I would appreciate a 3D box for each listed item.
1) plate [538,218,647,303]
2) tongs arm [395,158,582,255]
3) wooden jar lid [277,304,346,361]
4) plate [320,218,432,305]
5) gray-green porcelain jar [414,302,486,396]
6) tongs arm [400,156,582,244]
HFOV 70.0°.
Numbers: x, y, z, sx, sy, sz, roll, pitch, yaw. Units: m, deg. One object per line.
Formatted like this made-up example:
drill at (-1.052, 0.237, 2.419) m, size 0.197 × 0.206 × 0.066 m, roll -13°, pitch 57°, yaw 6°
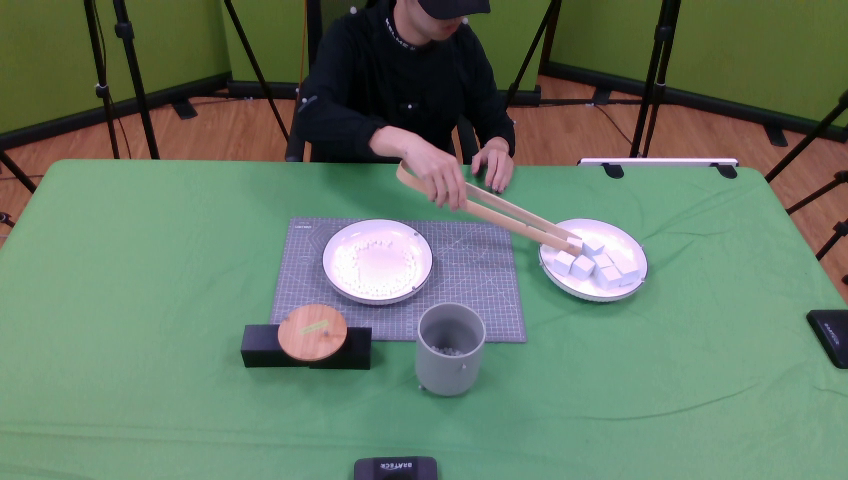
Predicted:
plate at (0.322, 0.042, 1.171) m, size 0.208 × 0.039 × 0.206 m, roll 2°, pitch 46°, yaw -2°
tongs arm at (0.123, -0.062, 1.158) m, size 0.385 × 0.026 × 0.050 m, roll 21°, pitch 42°, yaw -7°
wooden jar lid at (-0.179, 0.150, 0.972) m, size 0.108 × 0.021 × 0.107 m, roll 2°, pitch 45°, yaw -2°
plate at (-0.089, 0.044, 1.134) m, size 0.209 × 0.038 × 0.208 m, roll 3°, pitch 46°, yaw -2°
gray-green porcelain jar at (0.038, 0.177, 0.958) m, size 0.106 × 0.127 × 0.105 m, roll 2°, pitch 46°, yaw -2°
tongs arm at (0.129, -0.076, 1.175) m, size 0.388 × 0.028 × 0.028 m, roll 24°, pitch 45°, yaw -3°
